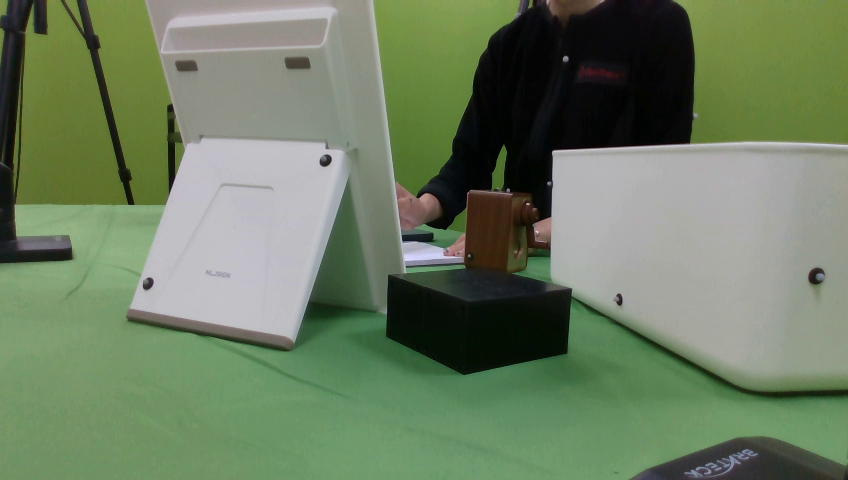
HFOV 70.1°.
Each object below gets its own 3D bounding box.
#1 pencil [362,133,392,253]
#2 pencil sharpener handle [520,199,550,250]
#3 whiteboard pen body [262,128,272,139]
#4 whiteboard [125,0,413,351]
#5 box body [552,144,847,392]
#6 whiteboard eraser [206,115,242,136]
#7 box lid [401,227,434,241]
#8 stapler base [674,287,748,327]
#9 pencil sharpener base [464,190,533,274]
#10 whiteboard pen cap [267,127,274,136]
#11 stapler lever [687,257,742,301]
[{"bbox_3d":[-0.071,-0.073,0.920,0.012,0.193,0.012,-13,-12,-2],"label":"pencil"},{"bbox_3d":[0.147,-0.019,0.785,0.030,0.068,0.036,8,25,36],"label":"pencil sharpener handle"},{"bbox_3d":[-0.361,-0.245,1.393,0.017,0.017,0.140,0,5,-20],"label":"whiteboard pen body"},{"bbox_3d":[-0.151,-0.050,0.471,0.216,0.305,0.144,6,27,24],"label":"whiteboard"},{"bbox_3d":[0.290,0.002,0.549,0.255,0.160,0.363,2,7,-10],"label":"box body"},{"bbox_3d":[-0.438,-0.249,1.320,0.056,0.042,0.112,-3,9,-30],"label":"whiteboard eraser"},{"bbox_3d":[-0.196,-0.015,1.105,0.373,0.015,0.262,-1,7,-32],"label":"box lid"},{"bbox_3d":[0.281,0.061,0.586,0.041,0.024,0.131,10,8,37],"label":"stapler base"},{"bbox_3d":[0.102,-0.012,0.813,0.076,0.107,0.061,8,9,36],"label":"pencil sharpener base"},{"bbox_3d":[-0.340,-0.239,1.337,0.018,0.018,0.033,1,-1,-14],"label":"whiteboard pen cap"},{"bbox_3d":[0.283,0.035,0.585,0.026,0.040,0.119,10,8,37],"label":"stapler lever"}]
